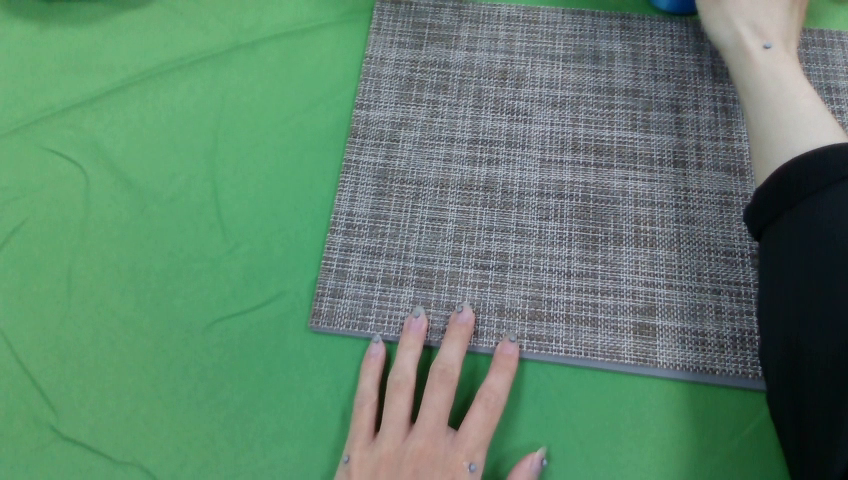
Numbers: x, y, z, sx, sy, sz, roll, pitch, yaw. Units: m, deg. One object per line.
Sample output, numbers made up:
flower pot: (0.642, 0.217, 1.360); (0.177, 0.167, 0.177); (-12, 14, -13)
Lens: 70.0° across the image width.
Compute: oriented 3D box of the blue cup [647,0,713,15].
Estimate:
blue cup: (0.214, -0.236, 0.476); (0.092, 0.101, 0.092); (-2, 65, 4)
